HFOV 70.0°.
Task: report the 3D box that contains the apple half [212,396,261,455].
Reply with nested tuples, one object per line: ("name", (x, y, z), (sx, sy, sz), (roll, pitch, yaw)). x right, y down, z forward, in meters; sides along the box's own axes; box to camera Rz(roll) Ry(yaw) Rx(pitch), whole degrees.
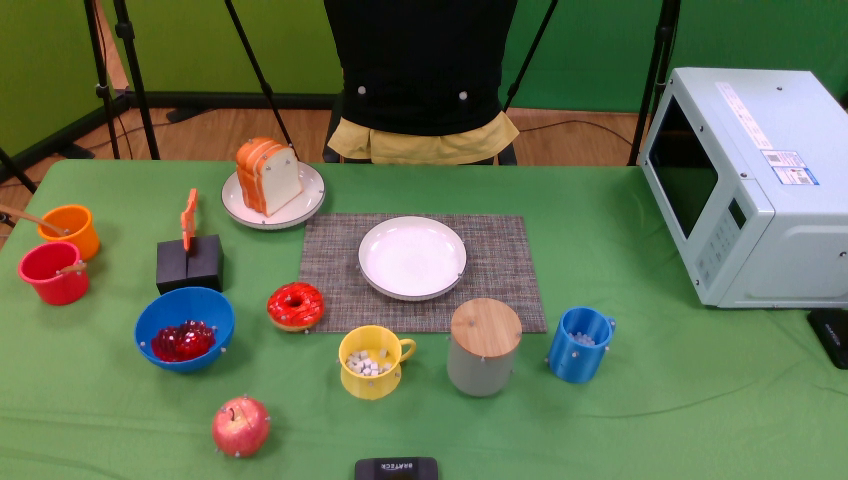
("apple half", (-0.276, 0.276, 0.877), (0.053, 0.075, 0.080), (-29, 58, -21))

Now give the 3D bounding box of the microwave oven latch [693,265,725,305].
("microwave oven latch", (0.522, 0.082, 1.115), (0.030, 0.029, 0.078), (2, 46, -1))

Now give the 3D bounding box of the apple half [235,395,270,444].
("apple half", (-0.245, 0.259, 0.893), (0.033, 0.082, 0.081), (-29, 55, -22))

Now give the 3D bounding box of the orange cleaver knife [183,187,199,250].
("orange cleaver knife", (-0.445, -0.045, 1.163), (0.012, 0.077, 0.210), (-5, 23, -13))

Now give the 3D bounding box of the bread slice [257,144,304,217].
("bread slice", (-0.290, -0.124, 1.205), (0.018, 0.135, 0.107), (24, 53, 23))

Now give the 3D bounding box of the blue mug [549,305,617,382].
("blue mug", (0.269, 0.166, 0.998), (0.116, 0.106, 0.082), (-19, 51, -21))

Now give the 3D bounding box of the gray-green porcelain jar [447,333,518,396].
("gray-green porcelain jar", (0.091, 0.178, 0.960), (0.106, 0.127, 0.105), (2, 46, -2))

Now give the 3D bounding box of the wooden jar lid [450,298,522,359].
("wooden jar lid", (0.093, 0.135, 0.914), (0.108, 0.021, 0.107), (2, 48, -3))

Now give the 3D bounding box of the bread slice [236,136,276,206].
("bread slice", (-0.332, -0.147, 1.225), (0.019, 0.132, 0.105), (25, 47, 26))

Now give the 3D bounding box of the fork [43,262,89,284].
("fork", (-0.599, 0.053, 1.013), (0.207, 0.019, 0.028), (-14, 30, 45))

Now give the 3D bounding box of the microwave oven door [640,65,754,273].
("microwave oven door", (0.523, -0.147, 1.193), (0.039, 0.245, 0.353), (0, 47, -3))

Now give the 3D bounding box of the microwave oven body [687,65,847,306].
("microwave oven body", (0.669, -0.111, 1.176), (0.326, 0.261, 0.439), (0, 46, -3))

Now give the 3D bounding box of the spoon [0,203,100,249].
("spoon", (-0.683, -0.031, 1.088), (0.195, 0.021, 0.041), (33, 33, -38))

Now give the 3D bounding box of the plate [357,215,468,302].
("plate", (-0.022, 0.037, 1.141), (0.208, 0.039, 0.206), (2, 46, -2))

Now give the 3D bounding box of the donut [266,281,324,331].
("donut", (-0.222, 0.114, 1.049), (0.099, 0.048, 0.098), (2, 45, -2))

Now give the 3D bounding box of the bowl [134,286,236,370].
("bowl", (-0.377, 0.156, 0.981), (0.151, 0.077, 0.150), (2, 46, -2))

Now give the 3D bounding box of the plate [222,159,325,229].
("plate", (-0.307, -0.095, 1.251), (0.209, 0.038, 0.208), (2, 46, -2))

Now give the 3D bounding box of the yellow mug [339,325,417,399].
("yellow mug", (-0.072, 0.190, 0.978), (0.131, 0.064, 0.099), (-17, 50, -20))
